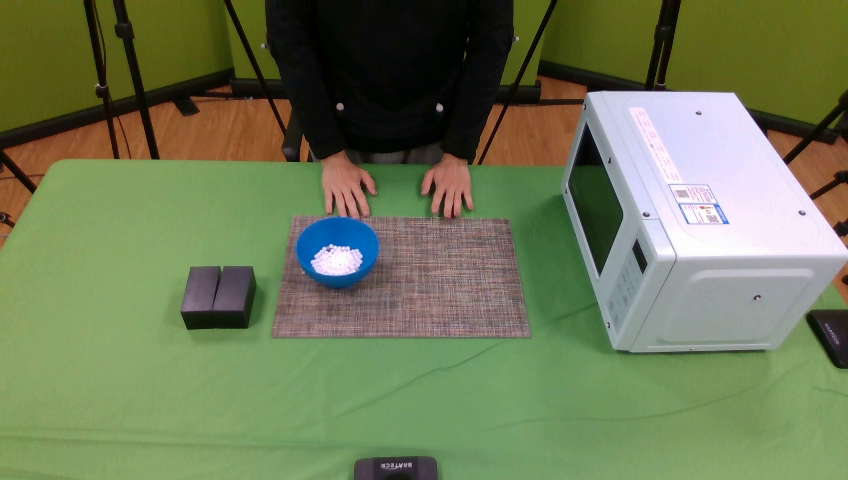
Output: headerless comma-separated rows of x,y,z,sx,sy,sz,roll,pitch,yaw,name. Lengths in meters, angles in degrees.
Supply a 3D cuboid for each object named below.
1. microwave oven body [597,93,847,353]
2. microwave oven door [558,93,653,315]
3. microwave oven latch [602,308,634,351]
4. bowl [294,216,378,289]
0.475,-0.041,1.109,0.326,0.261,0.438,-1,45,-4,microwave oven body
0.327,-0.074,1.123,0.039,0.245,0.353,-1,46,-5,microwave oven door
0.332,0.153,1.043,0.030,0.029,0.078,-1,45,-4,microwave oven latch
-0.158,0.036,1.110,0.151,0.077,0.150,3,45,-2,bowl
